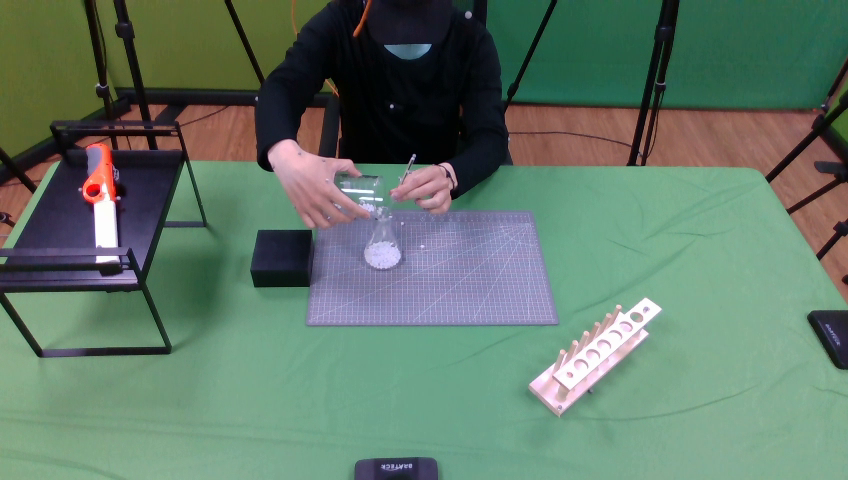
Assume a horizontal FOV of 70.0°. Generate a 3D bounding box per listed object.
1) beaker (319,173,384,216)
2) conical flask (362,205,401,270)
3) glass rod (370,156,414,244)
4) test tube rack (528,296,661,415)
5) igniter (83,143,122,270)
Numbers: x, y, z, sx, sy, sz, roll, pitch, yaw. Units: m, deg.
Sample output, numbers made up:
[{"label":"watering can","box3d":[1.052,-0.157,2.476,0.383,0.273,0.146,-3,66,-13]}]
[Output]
[{"label":"beaker","box3d":[-0.126,-0.079,1.068,0.100,0.084,0.073,4,43,11]},{"label":"conical flask","box3d":[-0.078,-0.008,1.127,0.075,0.122,0.075,2,46,-2]},{"label":"glass rod","box3d":[-0.059,-0.068,1.082,0.008,0.200,0.008,20,34,-14]},{"label":"test tube rack","box3d":[0.285,0.178,1.005,0.242,0.085,0.066,-31,56,-29]},{"label":"igniter","box3d":[-0.508,-0.064,0.962,0.057,0.025,0.274,-14,53,-17]}]
